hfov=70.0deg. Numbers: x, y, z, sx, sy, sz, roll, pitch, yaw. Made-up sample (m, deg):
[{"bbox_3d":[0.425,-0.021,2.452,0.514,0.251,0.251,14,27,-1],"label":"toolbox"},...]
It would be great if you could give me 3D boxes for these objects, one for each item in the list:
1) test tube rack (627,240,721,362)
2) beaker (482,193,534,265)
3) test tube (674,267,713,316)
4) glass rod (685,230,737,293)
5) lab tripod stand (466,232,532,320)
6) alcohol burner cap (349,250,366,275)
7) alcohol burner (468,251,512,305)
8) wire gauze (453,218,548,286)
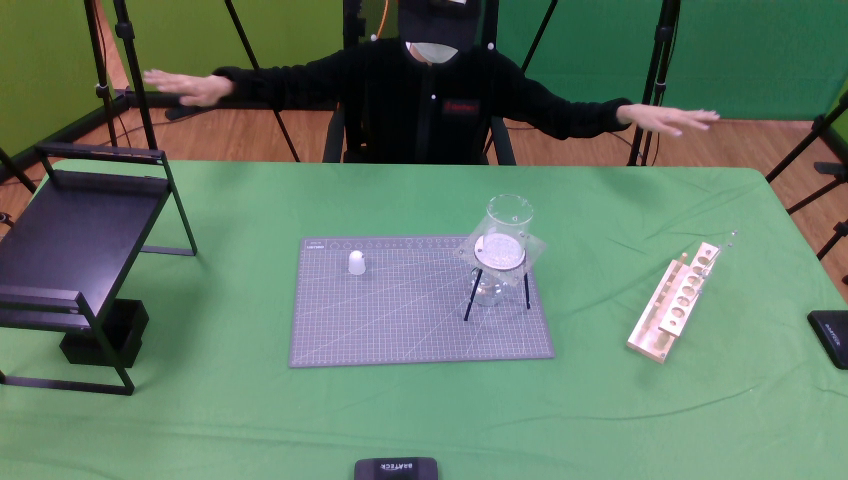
[{"bbox_3d":[0.452,0.098,1.087,0.066,0.085,0.242,28,51,22],"label":"test tube rack"},{"bbox_3d":[0.135,-0.016,0.979,0.073,0.101,0.084,35,52,28],"label":"beaker"},{"bbox_3d":[0.445,0.098,1.017,0.017,0.151,0.017,4,49,-4],"label":"test tube"},{"bbox_3d":[0.495,0.042,1.051,0.008,0.200,0.008,2,55,-2],"label":"glass rod"},{"bbox_3d":[0.125,0.059,1.065,0.148,0.132,0.147,1,45,0],"label":"lab tripod stand"},{"bbox_3d":[-0.125,0.039,1.132,0.034,0.048,0.033,2,46,-2],"label":"alcohol burner cap"},{"bbox_3d":[0.119,0.061,1.077,0.078,0.120,0.077,1,47,-1],"label":"alcohol burner"},{"bbox_3d":[0.129,0.014,1.018,0.124,0.011,0.121,26,47,25],"label":"wire gauze"}]
